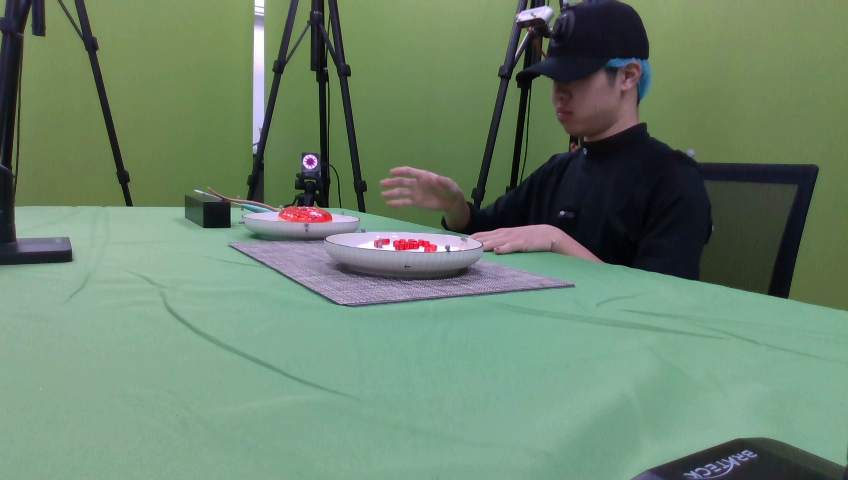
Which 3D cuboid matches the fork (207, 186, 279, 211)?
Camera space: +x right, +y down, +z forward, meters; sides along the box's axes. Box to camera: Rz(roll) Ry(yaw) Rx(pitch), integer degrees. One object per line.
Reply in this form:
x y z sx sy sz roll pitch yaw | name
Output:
-0.342 -0.070 1.244 0.208 0.018 0.028 18 -5 -24 | fork

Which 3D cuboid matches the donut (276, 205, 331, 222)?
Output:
-0.218 -0.037 1.091 0.099 0.048 0.099 5 9 0 | donut

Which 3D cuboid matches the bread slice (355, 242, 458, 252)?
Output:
-0.027 0.019 0.793 0.131 0.019 0.105 6 7 18 | bread slice

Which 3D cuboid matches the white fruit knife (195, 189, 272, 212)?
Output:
-0.378 -0.073 1.270 0.208 0.016 0.027 18 -4 -32 | white fruit knife

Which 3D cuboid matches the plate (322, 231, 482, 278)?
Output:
-0.028 0.018 0.789 0.209 0.038 0.209 3 7 0 | plate

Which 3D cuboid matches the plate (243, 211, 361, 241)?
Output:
-0.219 -0.025 1.092 0.208 0.039 0.207 2 7 0 | plate
